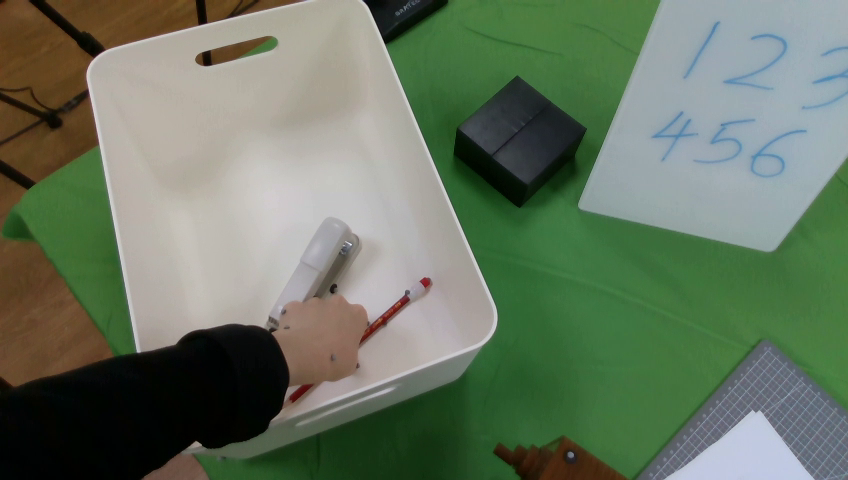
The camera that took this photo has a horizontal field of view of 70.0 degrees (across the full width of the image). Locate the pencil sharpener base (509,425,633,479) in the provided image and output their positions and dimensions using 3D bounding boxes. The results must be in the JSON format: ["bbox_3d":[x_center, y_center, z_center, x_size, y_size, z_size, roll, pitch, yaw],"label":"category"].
[{"bbox_3d":[0.113,0.203,0.505,0.076,0.108,0.061,33,70,12],"label":"pencil sharpener base"}]

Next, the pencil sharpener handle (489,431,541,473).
[{"bbox_3d":[0.072,0.170,0.504,0.030,0.068,0.036,33,71,12],"label":"pencil sharpener handle"}]

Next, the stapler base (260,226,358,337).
[{"bbox_3d":[-0.113,0.032,0.607,0.041,0.024,0.130,28,69,6],"label":"stapler base"}]

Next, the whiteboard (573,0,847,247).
[{"bbox_3d":[0.300,-0.166,0.598,0.217,0.308,0.143,14,47,4],"label":"whiteboard"}]

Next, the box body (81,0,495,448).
[{"bbox_3d":[-0.123,-0.019,0.558,0.254,0.161,0.361,-19,69,-10],"label":"box body"}]

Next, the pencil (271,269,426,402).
[{"bbox_3d":[-0.069,0.089,0.585,0.194,0.012,0.012,-40,73,-21],"label":"pencil"}]

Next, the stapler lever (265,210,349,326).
[{"bbox_3d":[-0.111,0.024,0.582,0.027,0.040,0.117,28,70,7],"label":"stapler lever"}]
